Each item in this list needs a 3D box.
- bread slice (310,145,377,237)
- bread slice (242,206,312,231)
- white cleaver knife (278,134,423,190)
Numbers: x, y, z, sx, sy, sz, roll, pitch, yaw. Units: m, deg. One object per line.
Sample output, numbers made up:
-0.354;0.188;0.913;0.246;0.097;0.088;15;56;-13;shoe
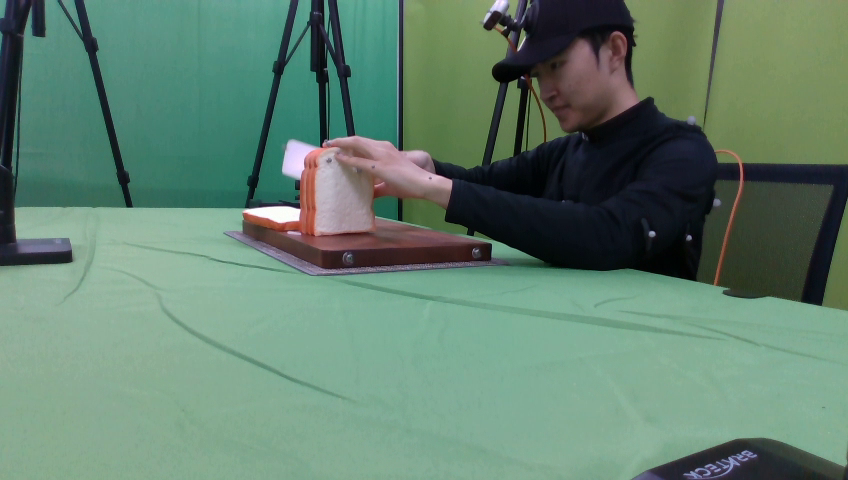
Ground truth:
-0.124;-0.074;0.906;0.107;0.134;0.018;-10;14;-33;bread slice
-0.233;-0.036;1.000;0.131;0.019;0.105;13;15;40;bread slice
-0.114;-0.114;1.010;0.288;0.066;0.021;10;-6;-40;white cleaver knife
